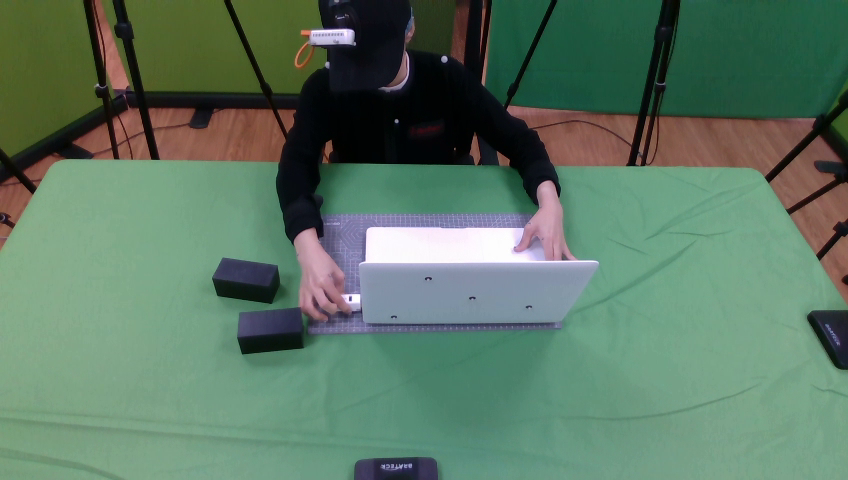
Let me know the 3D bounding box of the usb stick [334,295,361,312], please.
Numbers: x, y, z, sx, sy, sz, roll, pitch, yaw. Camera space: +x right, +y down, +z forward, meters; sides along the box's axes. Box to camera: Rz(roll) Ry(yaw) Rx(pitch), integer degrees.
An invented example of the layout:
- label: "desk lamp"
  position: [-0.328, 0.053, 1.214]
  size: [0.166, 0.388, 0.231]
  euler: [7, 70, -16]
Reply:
- label: "usb stick"
  position: [-0.128, 0.112, 1.066]
  size: [0.059, 0.027, 0.021]
  euler: [0, 48, -7]

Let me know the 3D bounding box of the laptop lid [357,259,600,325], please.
- label: "laptop lid"
  position: [0.075, 0.087, 0.960]
  size: [0.357, 0.242, 0.013]
  euler: [1, 60, -5]

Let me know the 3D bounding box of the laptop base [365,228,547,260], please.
- label: "laptop base"
  position: [0.065, 0.063, 1.145]
  size: [0.355, 0.023, 0.234]
  euler: [0, 43, -4]
